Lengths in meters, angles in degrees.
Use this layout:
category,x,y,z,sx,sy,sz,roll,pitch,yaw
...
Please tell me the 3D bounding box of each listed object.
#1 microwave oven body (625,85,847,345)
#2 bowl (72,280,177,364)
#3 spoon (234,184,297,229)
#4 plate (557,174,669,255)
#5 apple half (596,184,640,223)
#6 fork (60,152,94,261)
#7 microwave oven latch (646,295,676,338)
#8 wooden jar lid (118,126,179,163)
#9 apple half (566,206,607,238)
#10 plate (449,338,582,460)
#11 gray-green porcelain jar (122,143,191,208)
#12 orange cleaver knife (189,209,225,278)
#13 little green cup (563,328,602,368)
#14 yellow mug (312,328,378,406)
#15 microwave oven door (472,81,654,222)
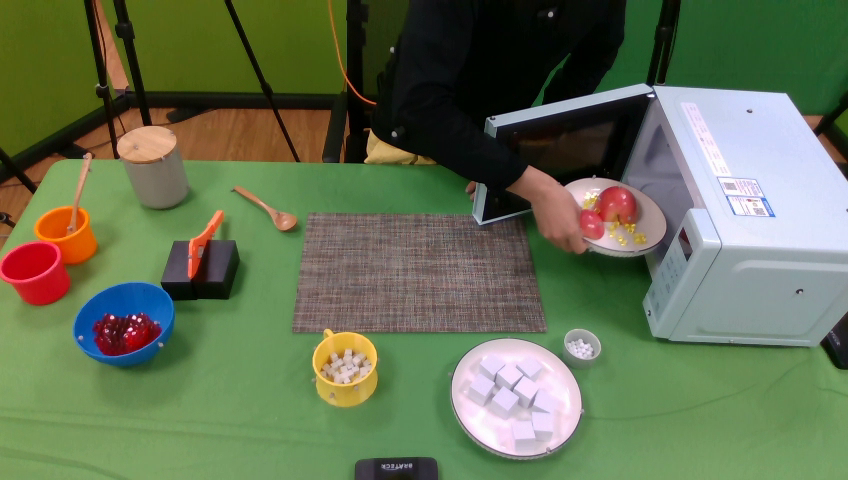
category,x,y,z,sx,sy,sz,roll,pitch,yaw
microwave oven body,0.568,-0.054,1.116,0.326,0.261,0.439,2,46,-1
bowl,-0.473,0.146,0.982,0.151,0.077,0.150,2,46,-2
spoon,-0.328,-0.073,1.240,0.193,0.022,0.041,34,70,25
plate,0.348,-0.044,1.131,0.209,0.038,0.208,4,44,-3
apple half,0.370,-0.076,1.144,0.081,0.053,0.074,13,42,7
fork,-0.638,-0.063,1.120,0.028,0.018,0.207,12,90,6
microwave oven latch,0.412,0.133,1.060,0.030,0.029,0.078,4,46,1
wooden jar lid,-0.528,-0.181,1.167,0.108,0.021,0.107,4,48,-4
apple half,0.303,-0.043,1.115,0.081,0.033,0.081,5,45,-5
plate,0.141,0.251,0.956,0.208,0.039,0.206,2,46,-2
gray-green porcelain jar,-0.531,-0.137,1.214,0.106,0.127,0.105,2,47,-2
orange cleaver knife,-0.401,0.002,1.122,0.012,0.077,0.210,4,23,-4
little green cup,0.266,0.185,1.025,0.061,0.039,0.061,1,45,-1
yellow mug,-0.132,0.193,0.971,0.100,0.064,0.130,-22,51,-23
microwave oven door,0.273,-0.175,1.203,0.356,0.245,0.039,-16,50,-18
